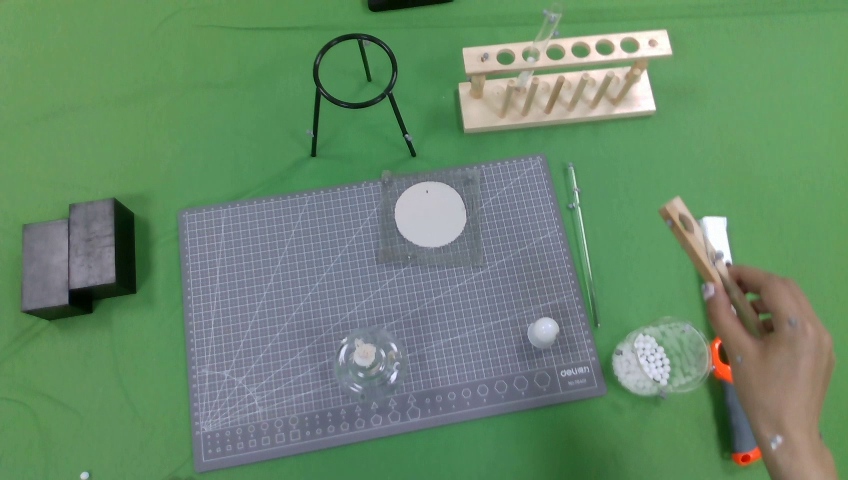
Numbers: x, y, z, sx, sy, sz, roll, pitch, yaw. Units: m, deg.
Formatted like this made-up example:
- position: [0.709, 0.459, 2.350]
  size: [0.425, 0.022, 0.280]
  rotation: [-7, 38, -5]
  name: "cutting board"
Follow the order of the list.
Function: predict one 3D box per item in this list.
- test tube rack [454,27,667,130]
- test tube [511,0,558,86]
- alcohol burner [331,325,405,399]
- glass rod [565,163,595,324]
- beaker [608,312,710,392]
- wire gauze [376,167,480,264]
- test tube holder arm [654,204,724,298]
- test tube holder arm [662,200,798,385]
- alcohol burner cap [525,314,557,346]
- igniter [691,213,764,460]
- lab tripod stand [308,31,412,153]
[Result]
- position: [0.163, -0.195, 0.739]
  size: [0.242, 0.085, 0.066]
  rotation: [-6, 73, -3]
  name: "test tube rack"
- position: [0.124, -0.220, 0.694]
  size: [0.017, 0.151, 0.017]
  rotation: [2, 73, -6]
  name: "test tube"
- position: [-0.059, 0.122, 0.621]
  size: [0.078, 0.120, 0.077]
  rotation: [0, 72, 1]
  name: "alcohol burner"
- position: [0.185, 0.001, 0.719]
  size: [0.008, 0.008, 0.198]
  rotation: [-5, 75, -2]
  name: "glass rod"
- position: [0.238, 0.121, 0.636]
  size: [0.084, 0.101, 0.073]
  rotation: [21, 73, 7]
  name: "beaker"
- position: [0.005, -0.031, 0.724]
  size: [0.125, 0.011, 0.121]
  rotation: [1, 74, -1]
  name: "wire gauze"
- position: [0.219, 0.009, 0.494]
  size: [0.010, 0.015, 0.088]
  rotation: [-35, 89, -7]
  name: "test tube holder arm"
- position: [0.249, 0.043, 0.494]
  size: [0.013, 0.015, 0.178]
  rotation: [-36, 89, -7]
  name: "test tube holder arm"
- position: [0.131, 0.097, 0.668]
  size: [0.034, 0.048, 0.033]
  rotation: [0, 73, 0]
  name: "alcohol burner cap"
- position: [0.339, 0.102, 0.681]
  size: [0.057, 0.025, 0.275]
  rotation: [1, 73, -11]
  name: "igniter"
- position: [-0.080, -0.161, 0.700]
  size: [0.148, 0.132, 0.147]
  rotation: [0, 75, -1]
  name: "lab tripod stand"
